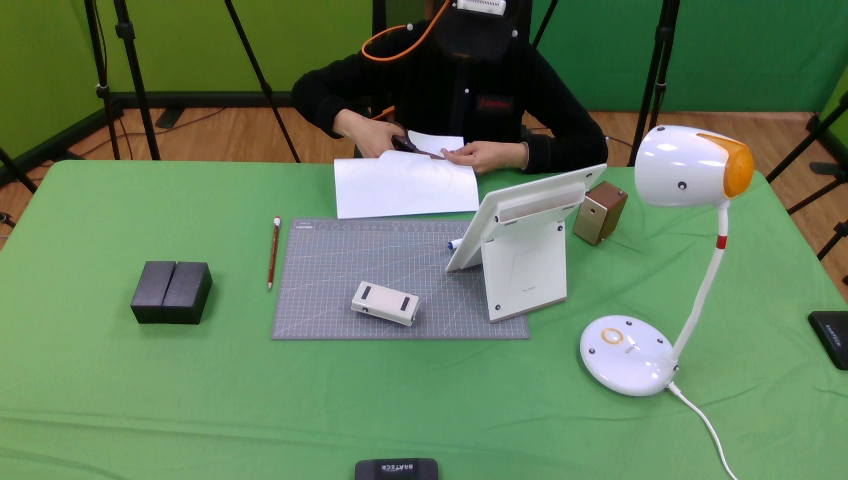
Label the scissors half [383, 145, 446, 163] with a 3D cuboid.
[{"bbox_3d":[-0.022,-0.183,1.321,0.174,0.040,0.013,12,23,38],"label":"scissors half"}]

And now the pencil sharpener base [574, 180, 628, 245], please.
[{"bbox_3d":[0.356,-0.056,1.217,0.076,0.107,0.061,-33,56,-31],"label":"pencil sharpener base"}]

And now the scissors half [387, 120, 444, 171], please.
[{"bbox_3d":[-0.019,-0.204,1.309,0.174,0.040,0.013,44,44,19],"label":"scissors half"}]

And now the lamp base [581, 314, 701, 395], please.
[{"bbox_3d":[0.361,0.144,0.972,0.178,0.181,0.160,34,53,23],"label":"lamp base"}]

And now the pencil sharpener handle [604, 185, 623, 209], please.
[{"bbox_3d":[0.390,-0.091,1.235,0.030,0.068,0.036,-33,69,-31],"label":"pencil sharpener handle"}]

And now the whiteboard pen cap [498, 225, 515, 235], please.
[{"bbox_3d":[0.166,-0.019,1.222,0.033,0.018,0.018,-15,49,-19],"label":"whiteboard pen cap"}]

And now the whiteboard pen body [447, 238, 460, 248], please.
[{"bbox_3d":[0.112,-0.005,1.204,0.141,0.017,0.017,-14,49,-18],"label":"whiteboard pen body"}]

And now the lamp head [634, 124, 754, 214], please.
[{"bbox_3d":[0.351,-0.089,0.776,0.112,0.113,0.122,-30,30,-28],"label":"lamp head"}]

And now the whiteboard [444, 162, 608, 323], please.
[{"bbox_3d":[0.186,0.025,1.029,0.217,0.306,0.143,-14,68,-17],"label":"whiteboard"}]

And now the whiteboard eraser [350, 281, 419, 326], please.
[{"bbox_3d":[-0.069,0.113,1.065,0.112,0.042,0.055,14,46,9],"label":"whiteboard eraser"}]

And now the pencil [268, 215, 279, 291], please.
[{"bbox_3d":[-0.290,0.022,1.164,0.012,0.012,0.192,-2,48,-6],"label":"pencil"}]
